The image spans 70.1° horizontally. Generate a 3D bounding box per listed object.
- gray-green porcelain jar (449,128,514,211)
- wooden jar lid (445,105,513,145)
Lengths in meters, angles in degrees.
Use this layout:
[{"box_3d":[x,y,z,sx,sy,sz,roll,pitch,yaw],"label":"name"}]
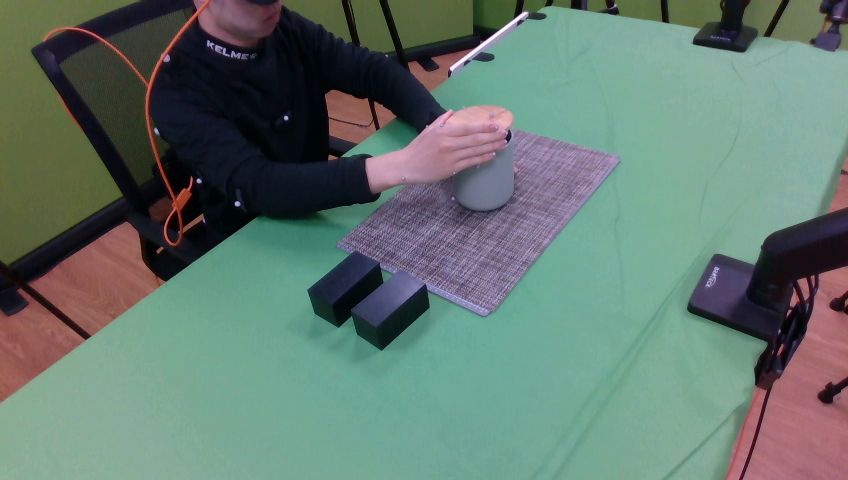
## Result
[{"box_3d":[0.097,-0.120,1.009,0.106,0.127,0.105,-4,41,4],"label":"gray-green porcelain jar"},{"box_3d":[0.087,-0.180,0.953,0.108,0.021,0.108,-7,37,6],"label":"wooden jar lid"}]
